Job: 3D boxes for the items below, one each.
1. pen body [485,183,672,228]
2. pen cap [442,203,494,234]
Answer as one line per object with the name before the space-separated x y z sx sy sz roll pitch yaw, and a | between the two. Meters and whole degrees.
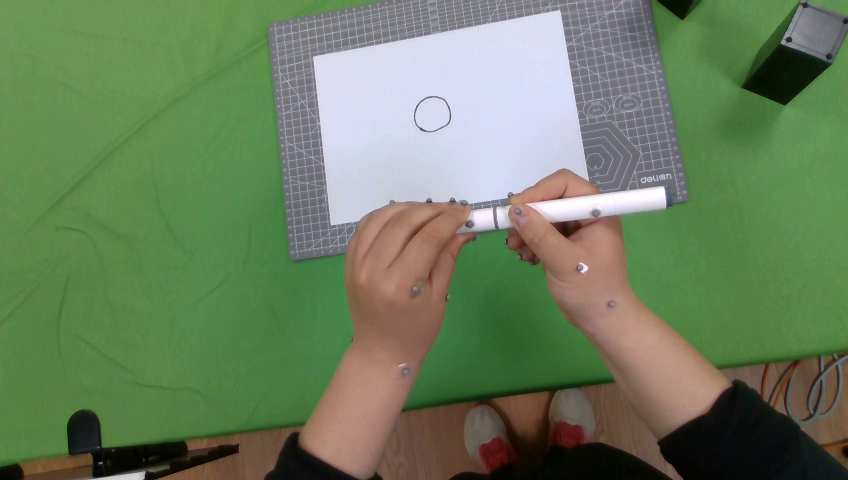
pen body | 0.092 -0.021 0.413 0.144 0.017 0.017 -7 80 14
pen cap | 0.032 -0.014 0.428 0.038 0.017 0.017 -12 80 3
